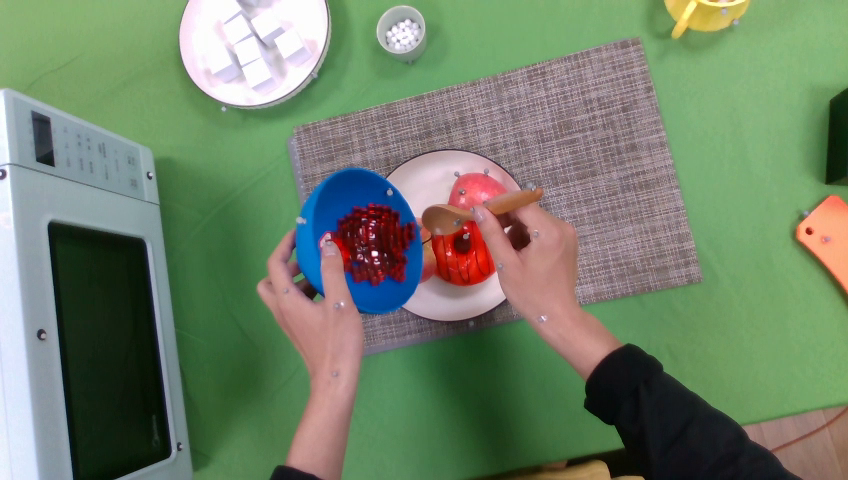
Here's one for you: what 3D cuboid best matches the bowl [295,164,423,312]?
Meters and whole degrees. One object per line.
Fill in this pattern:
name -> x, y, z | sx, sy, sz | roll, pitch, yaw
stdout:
bowl -> -0.079, 0.005, 0.624 | 0.076, 0.152, 0.151 | -17, 80, 40

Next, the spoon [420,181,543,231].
spoon -> 0.049, -0.030, 0.570 | 0.042, 0.193, 0.021 | 43, 70, -17

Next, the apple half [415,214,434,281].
apple half -> -0.031, 0.010, 0.707 | 0.074, 0.054, 0.080 | -14, 77, 49

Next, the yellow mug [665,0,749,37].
yellow mug -> 0.325, -0.291, 0.695 | 0.099, 0.064, 0.131 | 35, 92, 11

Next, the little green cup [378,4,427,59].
little green cup -> -0.025, -0.261, 0.766 | 0.061, 0.039, 0.061 | -1, 84, 10

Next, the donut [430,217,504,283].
donut -> 0.046, 0.002, 0.717 | 0.099, 0.048, 0.099 | 0, 91, 11

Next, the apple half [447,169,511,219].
apple half -> 0.067, -0.060, 0.703 | 0.081, 0.033, 0.080 | 1, 45, -1

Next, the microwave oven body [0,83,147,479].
microwave oven body -> -0.500, 0.100, 0.698 | 0.326, 0.261, 0.440 | -11, 84, 8

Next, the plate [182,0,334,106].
plate -> -0.215, -0.274, 0.800 | 0.207, 0.039, 0.207 | -1, 85, 10

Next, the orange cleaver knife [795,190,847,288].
orange cleaver knife -> 0.488, 0.045, 0.661 | 0.077, 0.012, 0.210 | -28, 79, 1

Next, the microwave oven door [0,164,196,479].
microwave oven door -> -0.352, 0.114, 0.666 | 0.039, 0.245, 0.354 | -11, 83, 9

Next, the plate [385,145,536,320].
plate -> 0.030, -0.009, 0.731 | 0.209, 0.038, 0.208 | -1, 85, 10

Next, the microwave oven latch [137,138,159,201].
microwave oven latch -> -0.369, -0.091, 0.791 | 0.030, 0.029, 0.079 | -10, 84, 8
